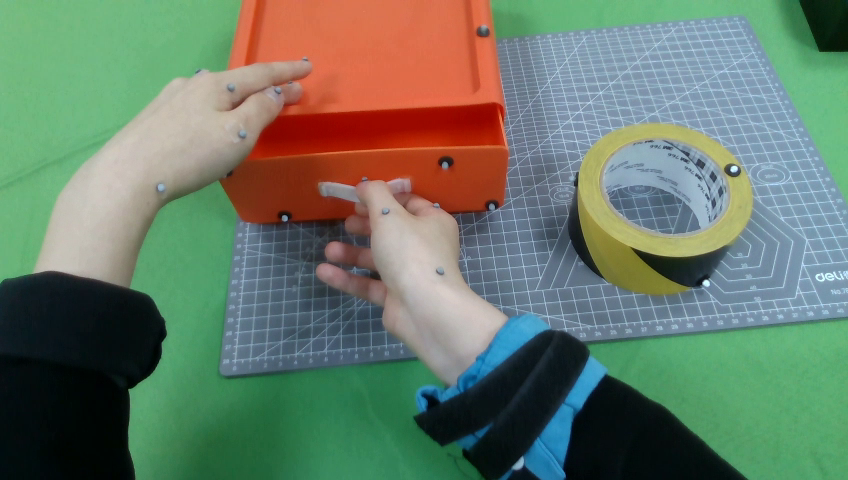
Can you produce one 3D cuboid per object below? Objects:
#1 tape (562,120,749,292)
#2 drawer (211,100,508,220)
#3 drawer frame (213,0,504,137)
[{"bbox_3d":[0.158,-0.024,0.417,0.117,0.053,0.116,-2,59,3],"label":"tape"},{"bbox_3d":[-0.044,-0.121,0.470,0.194,0.074,0.209,-3,58,2],"label":"drawer"},{"bbox_3d":[-0.047,-0.156,0.492,0.202,0.083,0.211,-4,58,2],"label":"drawer frame"}]
